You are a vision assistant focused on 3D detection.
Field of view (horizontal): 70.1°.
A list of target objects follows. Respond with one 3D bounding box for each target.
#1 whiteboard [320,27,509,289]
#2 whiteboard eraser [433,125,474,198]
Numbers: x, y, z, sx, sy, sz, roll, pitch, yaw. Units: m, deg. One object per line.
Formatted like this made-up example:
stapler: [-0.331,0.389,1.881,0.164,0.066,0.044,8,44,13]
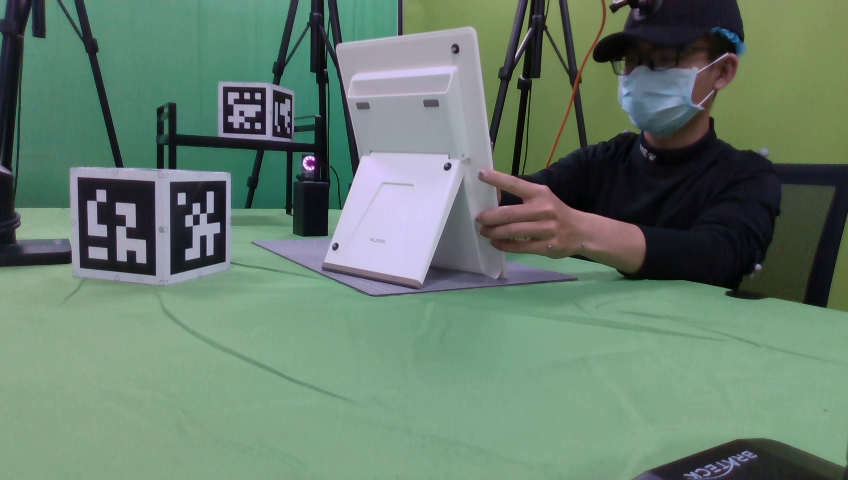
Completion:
whiteboard: [-0.046,-0.076,0.721,0.216,0.305,0.144,9,29,39]
whiteboard eraser: [0.036,-0.097,0.754,0.041,0.101,0.019,25,45,16]
